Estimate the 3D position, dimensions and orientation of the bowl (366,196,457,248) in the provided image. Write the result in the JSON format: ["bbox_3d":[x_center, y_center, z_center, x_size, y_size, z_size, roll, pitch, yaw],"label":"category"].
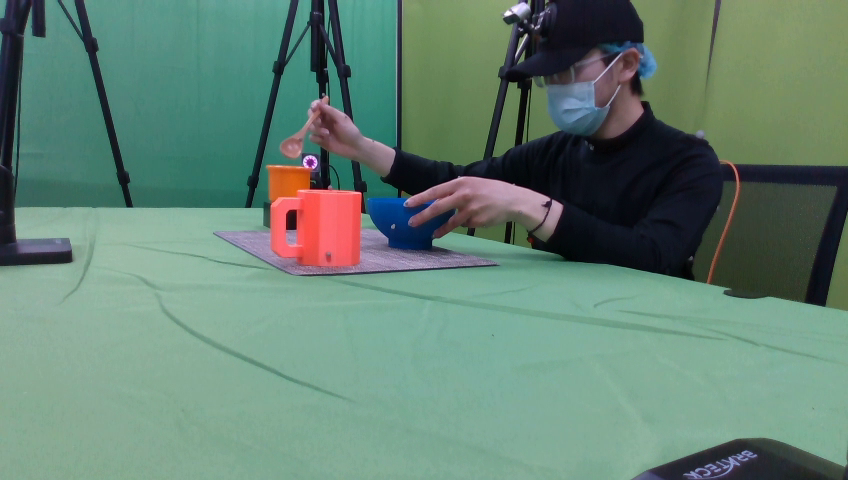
[{"bbox_3d":[-0.022,-0.030,1.001,0.151,0.077,0.151,2,7,0],"label":"bowl"}]

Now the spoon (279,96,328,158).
[{"bbox_3d":[-0.238,-0.234,1.229,0.042,0.194,0.021,33,-33,-10],"label":"spoon"}]

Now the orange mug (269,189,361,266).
[{"bbox_3d":[-0.142,-0.019,0.796,0.127,0.100,0.083,2,5,-39],"label":"orange mug"}]
